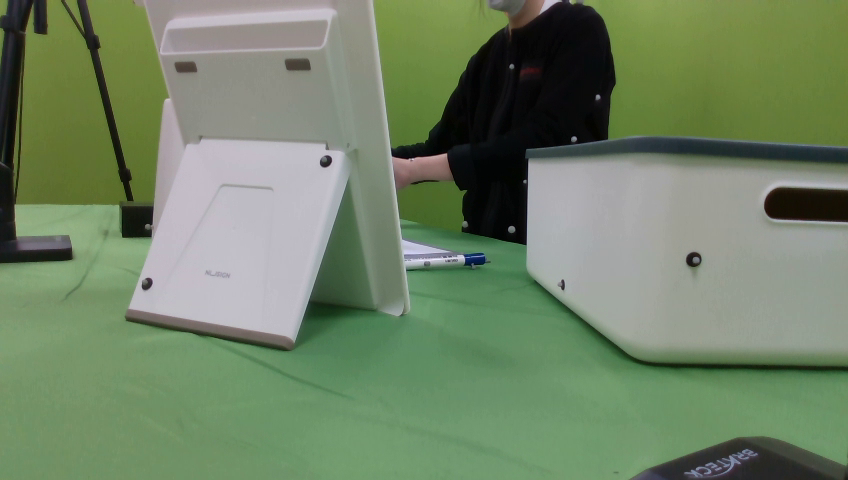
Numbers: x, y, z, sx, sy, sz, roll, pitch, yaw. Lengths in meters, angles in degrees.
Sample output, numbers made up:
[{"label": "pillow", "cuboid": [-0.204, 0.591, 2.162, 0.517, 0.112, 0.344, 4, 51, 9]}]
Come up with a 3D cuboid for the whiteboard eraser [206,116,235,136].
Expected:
[{"label": "whiteboard eraser", "cuboid": [-0.450, -0.252, 1.335, 0.056, 0.042, 0.112, 1, 7, -22]}]

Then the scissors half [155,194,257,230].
[{"label": "scissors half", "cuboid": [-0.378, -0.051, 1.058, 0.176, 0.040, 0.012, 20, 22, -31]}]

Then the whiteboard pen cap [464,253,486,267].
[{"label": "whiteboard pen cap", "cuboid": [0.066, 0.027, 0.818, 0.033, 0.018, 0.018, -6, 10, -24]}]

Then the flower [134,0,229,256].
[{"label": "flower", "cuboid": [-0.282, -0.146, 0.713, 0.038, 0.362, 0.044, -23, 23, -31]}]

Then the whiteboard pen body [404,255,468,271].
[{"label": "whiteboard pen body", "cuboid": [0.013, 0.030, 0.792, 0.141, 0.017, 0.017, -3, 9, -24]}]

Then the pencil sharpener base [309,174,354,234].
[{"label": "pencil sharpener base", "cuboid": [-0.176, -0.070, 1.141, 0.062, 0.107, 0.076, -3, 9, -32]}]

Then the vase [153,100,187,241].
[{"label": "vase", "cuboid": [-0.278, -0.066, 0.736, 0.098, 0.200, 0.098, 2, 9, 0]}]

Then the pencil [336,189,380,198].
[{"label": "pencil", "cuboid": [-0.118, -0.082, 1.042, 0.012, 0.012, 0.193, -2, 7, -28]}]

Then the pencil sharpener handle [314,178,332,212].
[{"label": "pencil sharpener handle", "cuboid": [-0.202, -0.088, 1.182, 0.036, 0.067, 0.030, -8, 11, -32]}]

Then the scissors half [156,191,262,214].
[{"label": "scissors half", "cuboid": [-0.371, -0.069, 1.051, 0.176, 0.040, 0.013, 2, 25, -24]}]

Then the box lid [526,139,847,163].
[{"label": "box lid", "cuboid": [0.261, -0.078, 0.580, 0.264, 0.015, 0.371, 2, 7, -4]}]

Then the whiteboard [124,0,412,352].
[{"label": "whiteboard", "cuboid": [-0.151, -0.049, 0.472, 0.216, 0.305, 0.144, 6, 27, 24]}]

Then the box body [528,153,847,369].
[{"label": "box body", "cuboid": [0.258, -0.005, 0.591, 0.254, 0.160, 0.363, 2, 7, -4]}]
